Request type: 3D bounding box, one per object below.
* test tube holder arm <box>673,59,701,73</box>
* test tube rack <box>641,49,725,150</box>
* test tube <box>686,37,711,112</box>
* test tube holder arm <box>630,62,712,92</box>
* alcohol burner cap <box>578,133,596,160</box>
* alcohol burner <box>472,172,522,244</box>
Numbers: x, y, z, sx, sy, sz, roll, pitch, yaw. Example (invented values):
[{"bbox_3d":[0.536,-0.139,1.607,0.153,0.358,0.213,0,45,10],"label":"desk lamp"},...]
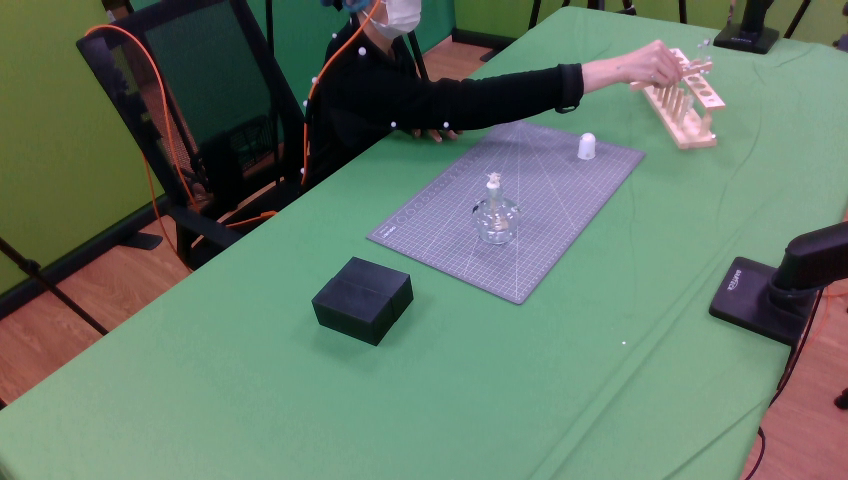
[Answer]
[{"bbox_3d":[0.480,-0.313,1.108,0.088,0.015,0.010,-32,44,-31],"label":"test tube holder arm"},{"bbox_3d":[0.495,-0.279,1.175,0.067,0.085,0.241,-5,41,3],"label":"test tube rack"},{"bbox_3d":[0.509,-0.306,1.128,0.017,0.151,0.017,-3,45,3],"label":"test tube"},{"bbox_3d":[0.445,-0.294,1.087,0.179,0.015,0.013,-19,37,-18],"label":"test tube holder arm"},{"bbox_3d":[0.301,-0.174,1.111,0.034,0.048,0.033,-5,40,4],"label":"alcohol burner cap"},{"bbox_3d":[0.112,-0.053,0.942,0.078,0.119,0.077,-6,40,5],"label":"alcohol burner"}]
